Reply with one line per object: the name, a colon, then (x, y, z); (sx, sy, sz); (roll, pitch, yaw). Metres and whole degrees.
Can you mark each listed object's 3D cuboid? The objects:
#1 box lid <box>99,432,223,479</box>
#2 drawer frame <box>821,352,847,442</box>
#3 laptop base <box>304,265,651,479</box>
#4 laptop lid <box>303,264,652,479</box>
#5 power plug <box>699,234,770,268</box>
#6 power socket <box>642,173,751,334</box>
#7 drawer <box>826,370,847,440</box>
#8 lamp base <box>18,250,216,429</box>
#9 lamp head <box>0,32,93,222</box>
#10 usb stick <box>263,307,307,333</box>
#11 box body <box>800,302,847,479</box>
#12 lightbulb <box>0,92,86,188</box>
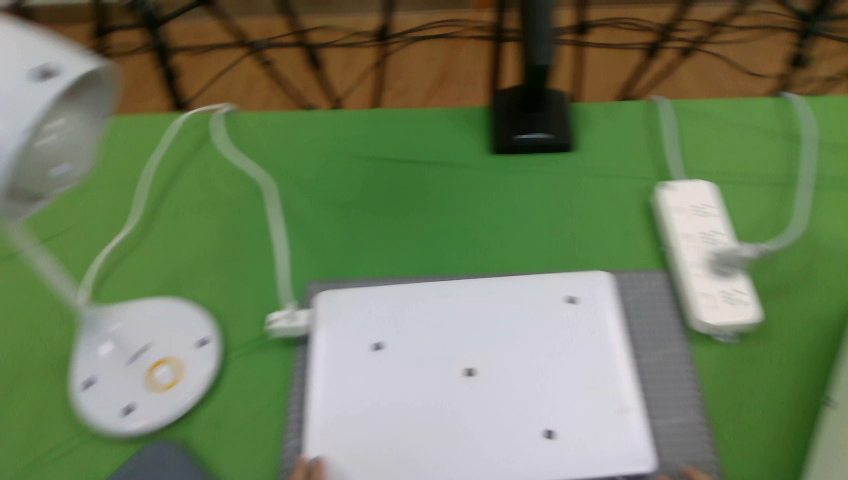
box lid: (-0.225, 0.373, 0.532); (0.369, 0.015, 0.263); (35, 64, 22)
drawer frame: (0.539, 0.150, 0.602); (0.200, 0.083, 0.213); (31, 58, 19)
laptop base: (0.047, 0.145, 0.669); (0.354, 0.023, 0.233); (-5, 60, -1)
laptop lid: (0.046, 0.140, 0.658); (0.357, 0.013, 0.239); (-4, 59, 0)
power plug: (0.360, 0.018, 0.708); (0.072, 0.053, 0.035); (6, 56, 4)
power socket: (0.329, 0.006, 0.744); (0.072, 0.033, 0.224); (-3, 56, -1)
drawer: (0.543, 0.149, 0.600); (0.193, 0.074, 0.211); (30, 64, 21)
lamp base: (-0.330, 0.087, 0.624); (0.178, 0.182, 0.160); (20, 59, 18)
lamp head: (-0.289, -0.083, 0.371); (0.123, 0.113, 0.111); (26, 58, -9)
usb stick: (-0.153, 0.092, 0.696); (0.059, 0.027, 0.021); (-1, 51, -2)
box body: (0.522, 0.171, 0.549); (0.253, 0.162, 0.362); (26, 61, 18)
lightbulb: (-0.257, -0.081, 0.369); (0.059, 0.059, 0.108); (-41, 103, -22)
